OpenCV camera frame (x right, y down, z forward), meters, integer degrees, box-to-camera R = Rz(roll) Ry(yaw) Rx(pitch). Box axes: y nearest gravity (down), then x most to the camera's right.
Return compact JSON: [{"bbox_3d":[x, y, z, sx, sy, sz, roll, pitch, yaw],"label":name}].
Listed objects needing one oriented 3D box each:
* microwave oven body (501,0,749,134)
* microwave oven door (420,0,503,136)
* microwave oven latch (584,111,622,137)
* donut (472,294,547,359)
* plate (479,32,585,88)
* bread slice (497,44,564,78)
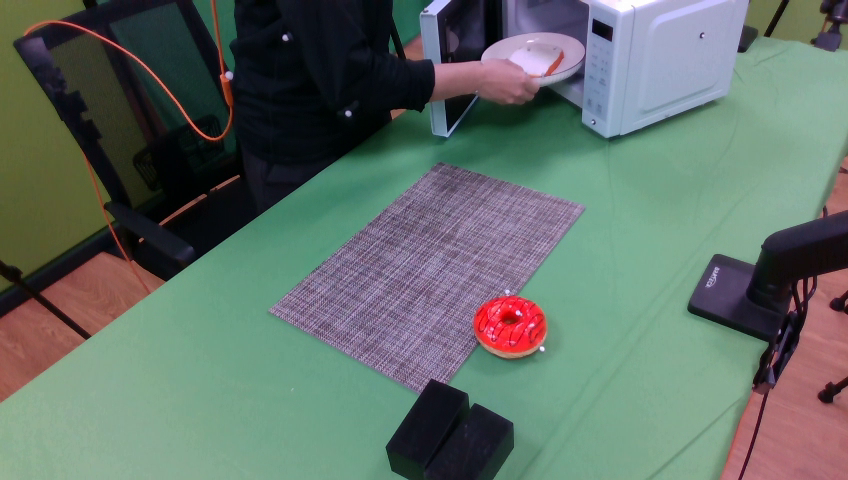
[{"bbox_3d":[0.382,-0.445,1.246,0.327,0.261,0.437,-22,42,-16],"label":"microwave oven body"},{"bbox_3d":[0.089,-0.408,1.237,0.039,0.245,0.356,12,44,22],"label":"microwave oven door"},{"bbox_3d":[0.337,-0.222,1.142,0.030,0.029,0.078,-21,42,-14],"label":"microwave oven latch"},{"bbox_3d":[0.114,0.114,0.803,0.099,0.048,0.098,0,40,1],"label":"donut"},{"bbox_3d":[0.217,-0.358,1.219,0.207,0.039,0.206,-5,41,5],"label":"plate"},{"bbox_3d":[0.222,-0.360,1.226,0.104,0.019,0.131,17,49,26],"label":"bread slice"}]
